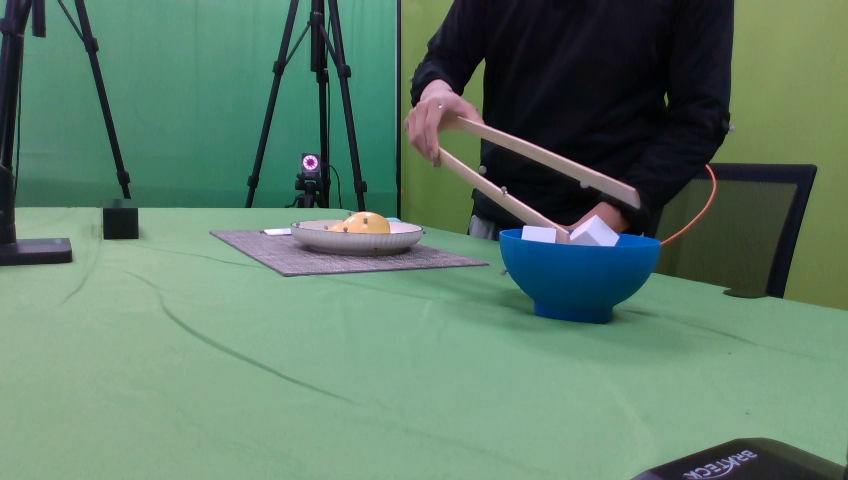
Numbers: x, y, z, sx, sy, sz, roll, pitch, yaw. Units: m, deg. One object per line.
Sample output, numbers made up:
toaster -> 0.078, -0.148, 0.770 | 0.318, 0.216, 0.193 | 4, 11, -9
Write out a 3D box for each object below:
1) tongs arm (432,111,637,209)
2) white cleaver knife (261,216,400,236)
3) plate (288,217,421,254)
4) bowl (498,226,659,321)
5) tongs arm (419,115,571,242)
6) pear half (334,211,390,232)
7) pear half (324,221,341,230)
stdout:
tongs arm -> 0.117, -0.111, 0.756 | 0.028, 0.028, 0.385 | -38, 36, -11
white cleaver knife -> -0.169, -0.021, 1.156 | 0.288, 0.021, 0.065 | -7, 20, -33
plate -> -0.109, -0.007, 0.956 | 0.208, 0.039, 0.207 | 2, 7, 0
bowl -> 0.145, 0.032, 0.585 | 0.151, 0.077, 0.151 | 2, 7, 0
tongs arm -> 0.077, -0.087, 0.747 | 0.051, 0.026, 0.383 | -33, 35, -10
pear half -> -0.107, -0.016, 0.920 | 0.110, 0.056, 0.076 | -4, 4, -20
pear half -> -0.126, -0.019, 1.001 | 0.088, 0.031, 0.070 | 8, 4, 1
